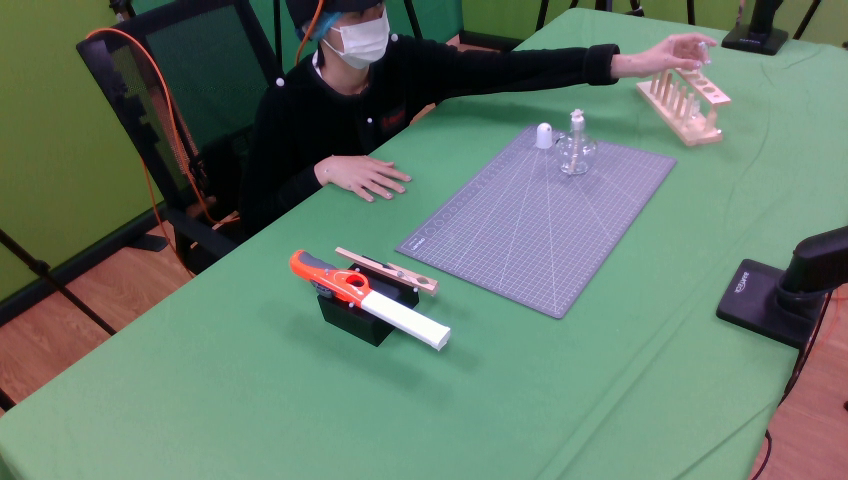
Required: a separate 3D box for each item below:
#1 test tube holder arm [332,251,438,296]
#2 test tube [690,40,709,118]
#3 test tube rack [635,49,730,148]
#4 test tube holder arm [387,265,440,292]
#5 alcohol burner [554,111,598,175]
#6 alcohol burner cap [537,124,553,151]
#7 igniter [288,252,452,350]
[{"bbox_3d":[-0.059,0.046,0.859,0.177,0.015,0.013,16,46,25],"label":"test tube holder arm"},{"bbox_3d":[0.510,-0.295,1.120,0.017,0.151,0.017,-7,39,6],"label":"test tube"},{"bbox_3d":[0.497,-0.283,1.185,0.067,0.085,0.240,-10,40,-2],"label":"test tube rack"},{"bbox_3d":[-0.018,0.054,0.843,0.087,0.015,0.010,18,47,26],"label":"test tube holder arm"},{"bbox_3d":[0.270,-0.175,1.066,0.078,0.119,0.077,-4,42,4],"label":"alcohol burner"},{"bbox_3d":[0.232,-0.199,1.158,0.034,0.048,0.033,-5,41,5],"label":"alcohol burner cap"},{"bbox_3d":[-0.084,0.077,0.821,0.274,0.025,0.057,23,48,27],"label":"igniter"}]
